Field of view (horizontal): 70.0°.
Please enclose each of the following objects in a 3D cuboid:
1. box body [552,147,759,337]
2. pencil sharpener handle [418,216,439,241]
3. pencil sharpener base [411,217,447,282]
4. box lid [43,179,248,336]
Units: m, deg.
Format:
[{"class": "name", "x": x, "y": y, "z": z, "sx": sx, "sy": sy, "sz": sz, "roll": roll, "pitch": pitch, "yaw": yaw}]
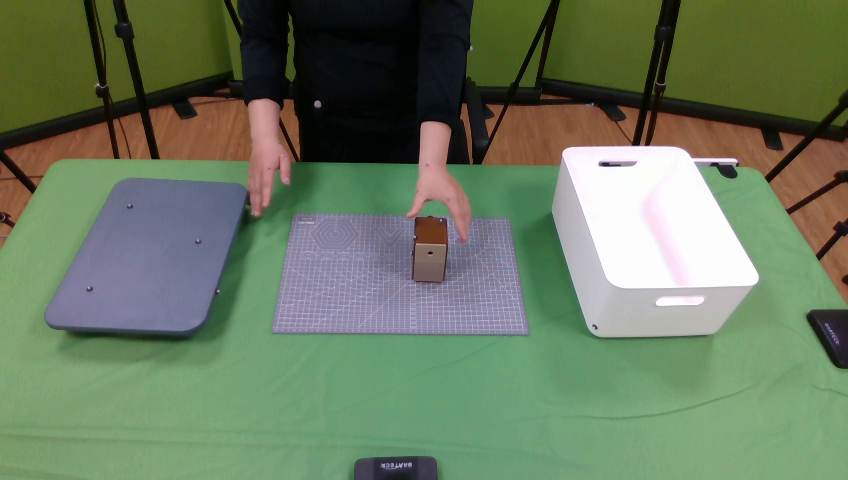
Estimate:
[{"class": "box body", "x": 0.400, "y": -0.001, "z": 1.131, "sx": 0.254, "sy": 0.161, "sz": 0.361, "roll": -1, "pitch": 46, "yaw": -5}, {"class": "pencil sharpener handle", "x": 0.004, "y": -0.028, "z": 1.144, "sx": 0.036, "sy": 0.068, "sz": 0.030, "roll": 15, "pitch": 43, "yaw": -15}, {"class": "pencil sharpener base", "x": 0.009, "y": 0.017, "z": 1.118, "sx": 0.061, "sy": 0.107, "sz": 0.076, "roll": 2, "pitch": 45, "yaw": -2}, {"class": "box lid", "x": -0.484, "y": 0.017, "z": 1.093, "sx": 0.263, "sy": 0.015, "sz": 0.369, "roll": 2, "pitch": 46, "yaw": -2}]
